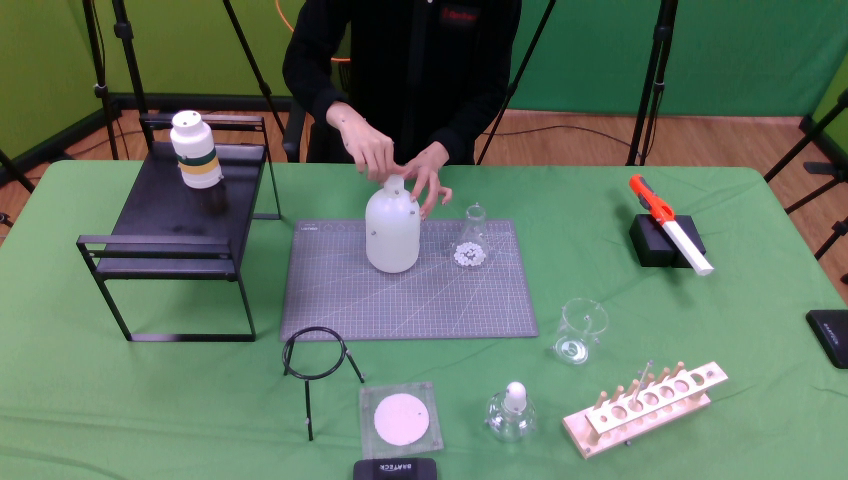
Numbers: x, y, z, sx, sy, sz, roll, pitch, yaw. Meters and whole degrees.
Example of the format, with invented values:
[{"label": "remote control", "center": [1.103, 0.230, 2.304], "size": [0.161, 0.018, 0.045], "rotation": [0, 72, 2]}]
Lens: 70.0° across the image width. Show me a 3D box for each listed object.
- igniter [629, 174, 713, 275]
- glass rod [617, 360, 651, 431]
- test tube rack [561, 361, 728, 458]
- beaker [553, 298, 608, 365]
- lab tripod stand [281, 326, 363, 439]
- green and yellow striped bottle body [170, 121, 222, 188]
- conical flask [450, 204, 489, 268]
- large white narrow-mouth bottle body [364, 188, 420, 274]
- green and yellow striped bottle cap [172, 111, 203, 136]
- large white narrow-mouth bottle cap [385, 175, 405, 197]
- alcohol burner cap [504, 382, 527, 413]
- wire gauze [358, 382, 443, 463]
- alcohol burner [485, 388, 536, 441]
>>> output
[{"label": "igniter", "center": [0.481, -0.040, 1.202], "size": [0.057, 0.025, 0.274], "rotation": [-2, 46, -21]}, {"label": "glass rod", "center": [0.298, 0.226, 0.865], "size": [0.008, 0.201, 0.008], "rotation": [-1, 48, 2]}, {"label": "test tube rack", "center": [0.341, 0.248, 0.940], "size": [0.243, 0.085, 0.066], "rotation": [-15, 49, -18]}, {"label": "beaker", "center": [0.260, 0.154, 1.015], "size": [0.073, 0.101, 0.084], "rotation": [37, 54, 27]}, {"label": "lab tripod stand", "center": [-0.166, 0.202, 0.913], "size": [0.148, 0.132, 0.147], "rotation": [1, 47, -1]}, {"label": "green and yellow striped bottle body", "center": [-0.375, -0.149, 0.995], "size": [0.063, 0.120, 0.063], "rotation": [2, 46, -2]}, {"label": "conical flask", "center": [0.091, -0.010, 1.141], "size": [0.075, 0.122, 0.075], "rotation": [2, 46, -2]}, {"label": "large white narrow-mouth bottle body", "center": [-0.058, -0.034, 1.104], "size": [0.102, 0.195, 0.101], "rotation": [4, 46, -3]}, {"label": "green and yellow striped bottle cap", "center": [-0.374, -0.185, 0.958], "size": [0.045, 0.020, 0.045], "rotation": [4, 46, -3]}, {"label": "large white narrow-mouth bottle cap", "center": [-0.050, -0.094, 1.040], "size": [0.038, 0.024, 0.037], "rotation": [4, 46, -4]}, {"label": "alcohol burner cap", "center": [0.133, 0.225, 0.877], "size": [0.034, 0.048, 0.033], "rotation": [-4, 47, 5]}, {"label": "wire gauze", "center": [-0.039, 0.277, 0.937], "size": [0.121, 0.011, 0.124], "rotation": [-4, 47, -7]}, {"label": "alcohol burner", "center": [0.131, 0.249, 0.904], "size": [0.078, 0.120, 0.077], "rotation": [1, 48, -1]}]
